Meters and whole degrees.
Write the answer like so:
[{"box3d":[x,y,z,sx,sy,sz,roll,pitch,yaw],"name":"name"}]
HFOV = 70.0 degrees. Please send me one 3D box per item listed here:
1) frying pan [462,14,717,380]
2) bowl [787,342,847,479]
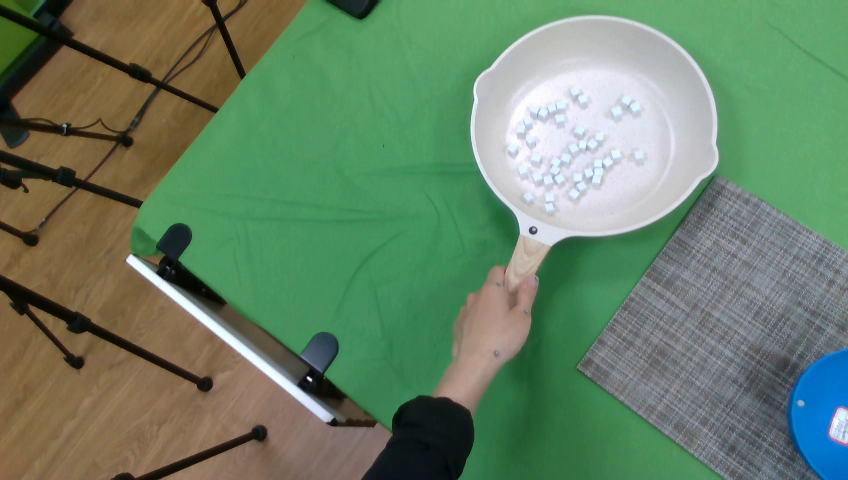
[{"box3d":[0.157,-0.054,0.735,0.305,0.103,0.486,24,72,16],"name":"frying pan"},{"box3d":[0.449,0.183,0.630,0.151,0.077,0.150,-2,75,9],"name":"bowl"}]
